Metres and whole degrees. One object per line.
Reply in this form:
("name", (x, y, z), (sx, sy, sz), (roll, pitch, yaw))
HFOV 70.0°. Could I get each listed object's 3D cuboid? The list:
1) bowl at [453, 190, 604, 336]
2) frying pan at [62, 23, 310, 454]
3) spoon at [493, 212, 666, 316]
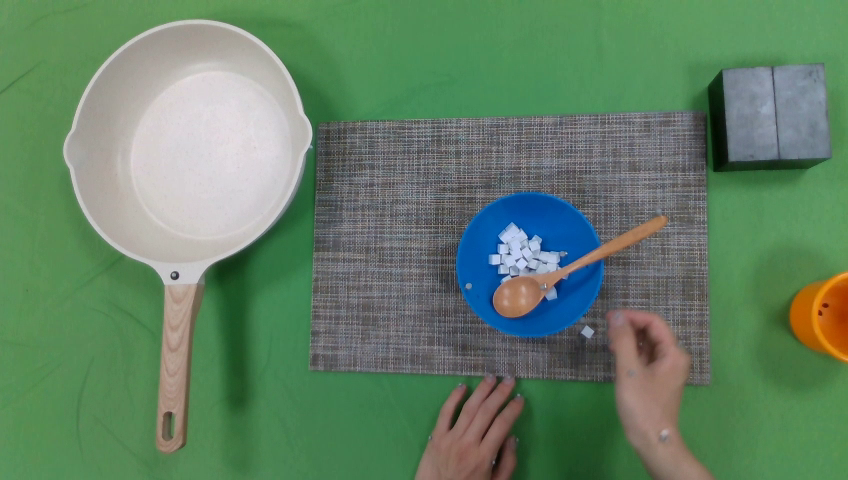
("bowl", (0.112, 0.027, 0.653), (0.151, 0.077, 0.151), (-1, 85, 8))
("frying pan", (-0.275, -0.007, 0.704), (0.306, 0.103, 0.485), (-2, 76, 9))
("spoon", (0.155, 0.024, 0.615), (0.193, 0.022, 0.041), (-31, 75, 23))
